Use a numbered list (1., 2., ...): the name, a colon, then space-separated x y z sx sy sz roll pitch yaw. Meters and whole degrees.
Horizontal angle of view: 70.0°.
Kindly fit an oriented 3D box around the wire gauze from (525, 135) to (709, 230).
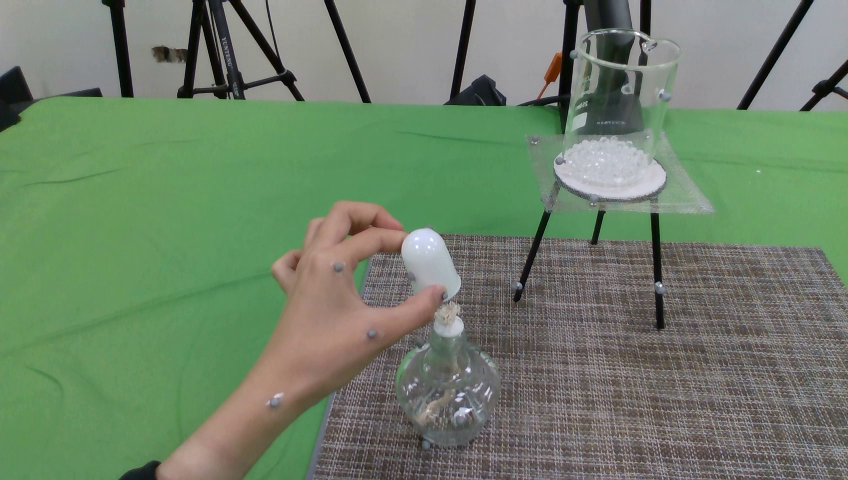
1. wire gauze: 0.149 -0.051 0.487 0.125 0.011 0.120 2 40 -1

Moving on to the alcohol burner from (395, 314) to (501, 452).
1. alcohol burner: 0.017 0.095 0.429 0.078 0.120 0.077 0 39 1

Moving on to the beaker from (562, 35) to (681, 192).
1. beaker: 0.147 -0.095 0.463 0.073 0.101 0.084 27 46 30

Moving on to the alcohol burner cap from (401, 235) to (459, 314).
1. alcohol burner cap: 0.001 0.019 0.378 0.034 0.048 0.033 -10 37 8

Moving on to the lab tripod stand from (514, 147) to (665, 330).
1. lab tripod stand: 0.156 -0.002 0.531 0.148 0.132 0.147 0 38 0
